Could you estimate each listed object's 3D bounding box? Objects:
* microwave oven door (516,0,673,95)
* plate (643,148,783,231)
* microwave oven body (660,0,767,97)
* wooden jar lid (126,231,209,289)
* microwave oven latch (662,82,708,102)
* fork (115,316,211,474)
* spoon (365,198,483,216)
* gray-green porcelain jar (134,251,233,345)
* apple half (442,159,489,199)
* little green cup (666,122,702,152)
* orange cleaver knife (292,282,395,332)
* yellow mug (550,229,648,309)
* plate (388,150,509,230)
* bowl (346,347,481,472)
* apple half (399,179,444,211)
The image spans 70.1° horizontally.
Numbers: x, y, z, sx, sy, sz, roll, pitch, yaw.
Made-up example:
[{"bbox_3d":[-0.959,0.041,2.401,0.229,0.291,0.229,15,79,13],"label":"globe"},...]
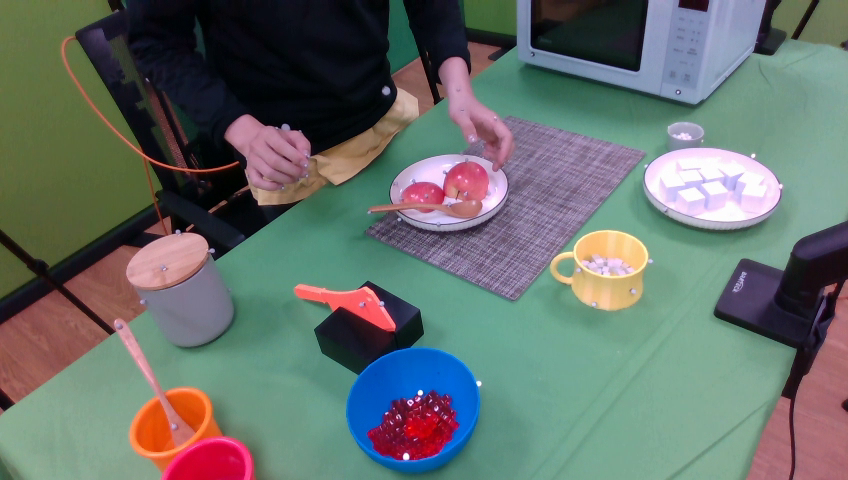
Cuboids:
[{"bbox_3d":[0.344,-0.458,1.256,0.353,0.245,0.039,26,52,33],"label":"microwave oven door"},{"bbox_3d":[0.464,-0.080,0.986,0.207,0.039,0.206,-4,41,4],"label":"plate"},{"bbox_3d":[0.473,-0.517,1.313,0.438,0.261,0.327,26,51,34],"label":"microwave oven body"},{"bbox_3d":[-0.340,0.030,0.809,0.108,0.021,0.108,-5,39,5],"label":"wooden jar lid"},{"bbox_3d":[0.517,-0.298,1.203,0.078,0.029,0.030,28,53,35],"label":"microwave oven latch"},{"bbox_3d":[-0.308,0.179,0.708,0.028,0.018,0.207,-30,89,-20],"label":"fork"},{"bbox_3d":[0.001,-0.057,0.997,0.194,0.022,0.041,1,47,-8],"label":"spoon"},{"bbox_3d":[-0.334,0.076,0.849,0.106,0.127,0.105,-4,41,4],"label":"gray-green porcelain jar"},{"bbox_3d":[0.074,-0.110,1.047,0.080,0.053,0.075,22,46,29],"label":"apple half"},{"bbox_3d":[0.471,-0.184,1.102,0.061,0.039,0.061,-5,41,5],"label":"little green cup"},{"bbox_3d":[-0.116,0.091,0.835,0.209,0.077,0.012,2,32,48],"label":"orange cleaver knife"},{"bbox_3d":[0.245,0.040,0.857,0.130,0.064,0.099,1,42,11],"label":"yellow mug"},{"bbox_3d":[0.044,-0.082,1.043,0.209,0.038,0.208,-4,41,4],"label":"plate"},{"bbox_3d":[-0.008,0.205,0.691,0.151,0.077,0.150,-4,40,4],"label":"bowl"},{"bbox_3d":[-0.004,-0.088,1.045,0.081,0.033,0.081,-1,43,2],"label":"apple half"}]
